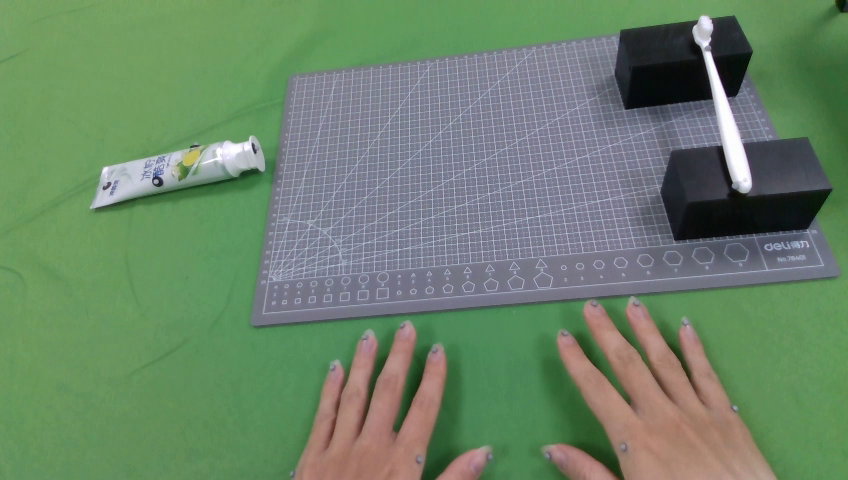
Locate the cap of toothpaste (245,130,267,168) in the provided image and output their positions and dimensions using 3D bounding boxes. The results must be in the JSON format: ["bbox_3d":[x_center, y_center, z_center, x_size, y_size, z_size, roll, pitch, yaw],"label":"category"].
[{"bbox_3d":[-0.158,-0.085,0.570,0.011,0.038,0.037,-13,55,2],"label":"cap of toothpaste"}]

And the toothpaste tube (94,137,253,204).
[{"bbox_3d":[-0.237,-0.072,0.582,0.165,0.035,0.054,-10,49,7],"label":"toothpaste tube"}]

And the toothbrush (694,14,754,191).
[{"bbox_3d":[0.234,-0.113,0.473,0.014,0.017,0.180,6,59,-2],"label":"toothbrush"}]
